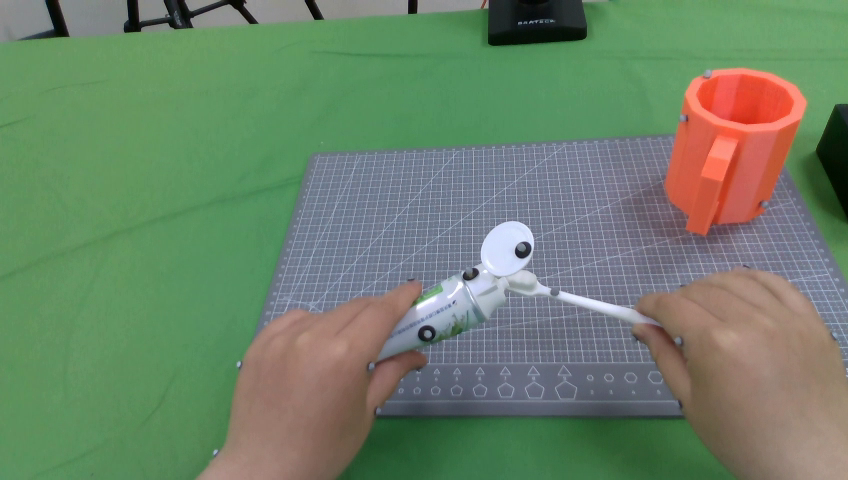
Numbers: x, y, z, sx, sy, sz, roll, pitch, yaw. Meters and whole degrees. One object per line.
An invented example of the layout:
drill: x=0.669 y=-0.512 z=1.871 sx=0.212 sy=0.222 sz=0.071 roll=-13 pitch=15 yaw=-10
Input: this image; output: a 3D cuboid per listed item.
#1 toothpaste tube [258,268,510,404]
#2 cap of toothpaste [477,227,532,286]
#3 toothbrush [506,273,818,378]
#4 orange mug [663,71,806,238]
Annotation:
toothpaste tube: x=-0.022 y=0.063 z=0.376 sx=0.165 sy=0.055 sz=0.034 roll=-28 pitch=70 yaw=5
cap of toothpaste: x=0.048 y=0.010 z=0.353 sx=0.037 sy=0.011 sz=0.037 roll=-22 pitch=52 yaw=31
toothbrush: x=0.133 y=0.048 z=0.358 sx=0.181 sy=0.017 sz=0.014 roll=16 pitch=54 yaw=16
orange mug: x=0.241 y=-0.064 z=0.487 sx=0.083 sy=0.102 sz=0.126 roll=20 pitch=48 yaw=26
